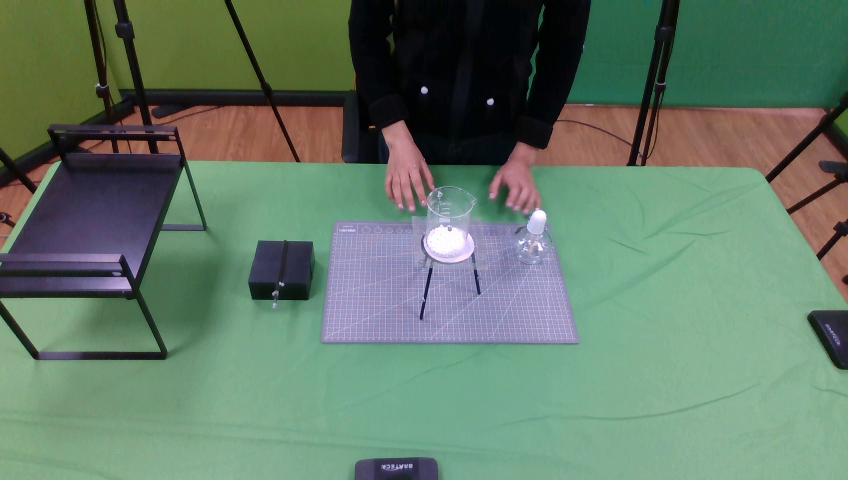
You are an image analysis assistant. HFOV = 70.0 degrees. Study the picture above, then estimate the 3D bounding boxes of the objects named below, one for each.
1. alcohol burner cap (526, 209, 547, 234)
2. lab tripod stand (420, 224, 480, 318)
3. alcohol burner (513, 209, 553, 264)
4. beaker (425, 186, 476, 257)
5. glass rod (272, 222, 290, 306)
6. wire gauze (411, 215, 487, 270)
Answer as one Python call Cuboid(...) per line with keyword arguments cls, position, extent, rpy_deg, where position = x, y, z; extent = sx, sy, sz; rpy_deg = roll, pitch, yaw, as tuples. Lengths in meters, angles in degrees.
Cuboid(cls="alcohol burner cap", position=(0.213, -0.037, 1.133), extent=(0.034, 0.048, 0.033), rpy_deg=(4, 51, -5))
Cuboid(cls="lab tripod stand", position=(0.034, 0.051, 1.070), extent=(0.148, 0.132, 0.147), rpy_deg=(3, 48, -3))
Cuboid(cls="alcohol burner", position=(0.210, -0.012, 1.158), extent=(0.078, 0.120, 0.077), rpy_deg=(2, 44, -1))
Cuboid(cls="beaker", position=(0.041, -0.028, 0.989), extent=(0.084, 0.101, 0.073), rpy_deg=(-12, 48, -15))
Cuboid(cls="glass rod", position=(-0.255, 0.039, 1.084), extent=(0.008, 0.008, 0.198), rpy_deg=(1, 46, -3))
Cuboid(cls="wire gauze", position=(0.041, 0.003, 1.026), extent=(0.125, 0.011, 0.120), rpy_deg=(0, 46, -1))
